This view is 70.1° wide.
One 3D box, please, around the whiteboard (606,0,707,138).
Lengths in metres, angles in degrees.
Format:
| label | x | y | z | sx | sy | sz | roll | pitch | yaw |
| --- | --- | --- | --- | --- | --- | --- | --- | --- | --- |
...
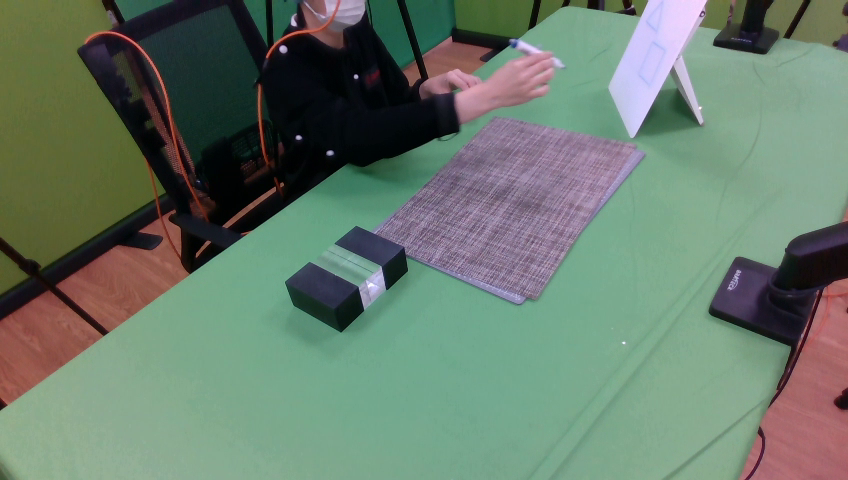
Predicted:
| label | x | y | z | sx | sy | sz | roll | pitch | yaw |
| --- | --- | --- | --- | --- | --- | --- | --- | --- | --- |
| whiteboard | 0.496 | -0.359 | 1.147 | 0.144 | 0.305 | 0.216 | 11 | 40 | -7 |

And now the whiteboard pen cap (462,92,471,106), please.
| label | x | y | z | sx | sy | sz | roll | pitch | yaw |
| --- | --- | --- | --- | --- | --- | --- | --- | --- | --- |
| whiteboard pen cap | 0.087 | -0.293 | 1.261 | 0.018 | 0.018 | 0.033 | 0 | 43 | 8 |

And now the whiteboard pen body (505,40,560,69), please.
| label | x | y | z | sx | sy | sz | roll | pitch | yaw |
| --- | --- | --- | --- | --- | --- | --- | --- | --- | --- |
| whiteboard pen body | 0.193 | -0.318 | 1.049 | 0.142 | 0.017 | 0.017 | 8 | 26 | -40 |
